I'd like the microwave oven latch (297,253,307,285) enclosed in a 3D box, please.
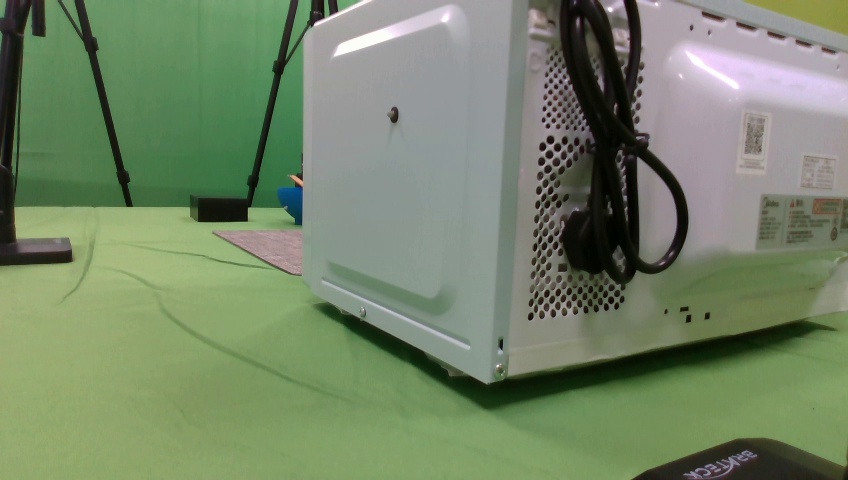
[{"bbox_3d":[-0.082,0.027,0.582,0.079,0.029,0.030,-1,7,-33],"label":"microwave oven latch"}]

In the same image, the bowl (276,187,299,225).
[{"bbox_3d":[-0.241,-0.073,1.302,0.151,0.077,0.151,2,7,0],"label":"bowl"}]

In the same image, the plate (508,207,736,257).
[{"bbox_3d":[0.186,-0.010,0.588,0.208,0.039,0.207,1,5,0],"label":"plate"}]

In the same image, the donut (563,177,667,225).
[{"bbox_3d":[0.184,-0.037,0.587,0.099,0.048,0.099,-2,3,0],"label":"donut"}]

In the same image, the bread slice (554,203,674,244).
[{"bbox_3d":[0.183,-0.017,0.579,0.107,0.018,0.134,-4,10,9],"label":"bread slice"}]

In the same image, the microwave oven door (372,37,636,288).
[{"bbox_3d":[0.110,-0.080,0.686,0.358,0.243,0.039,-2,9,-33],"label":"microwave oven door"}]

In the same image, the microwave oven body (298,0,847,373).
[{"bbox_3d":[0.151,-0.055,0.542,0.444,0.260,0.324,-1,7,-33],"label":"microwave oven body"}]

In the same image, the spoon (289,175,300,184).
[{"bbox_3d":[-0.260,-0.110,1.343,0.042,0.021,0.192,-8,33,-30],"label":"spoon"}]

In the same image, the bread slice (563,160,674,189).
[{"bbox_3d":[0.186,-0.063,0.578,0.104,0.019,0.132,7,6,15],"label":"bread slice"}]
